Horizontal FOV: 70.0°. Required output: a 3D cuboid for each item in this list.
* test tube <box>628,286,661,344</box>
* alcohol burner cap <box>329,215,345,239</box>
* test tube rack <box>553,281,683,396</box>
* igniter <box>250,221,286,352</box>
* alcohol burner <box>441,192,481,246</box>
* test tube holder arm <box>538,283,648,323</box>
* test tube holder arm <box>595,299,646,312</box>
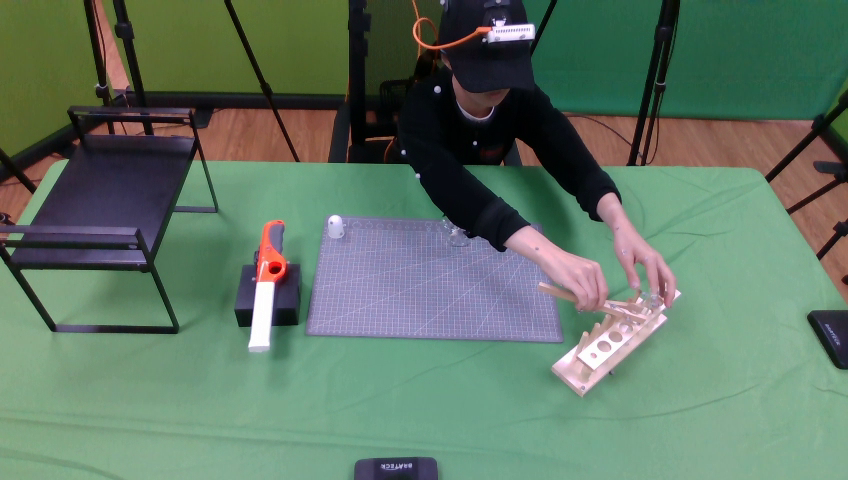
[{"bbox_3d":[0.353,0.124,0.983,0.017,0.151,0.017,1,49,-1],"label":"test tube"},{"bbox_3d":[-0.172,-0.028,1.192,0.034,0.048,0.033,1,48,-1],"label":"alcohol burner cap"},{"bbox_3d":[0.329,0.153,1.022,0.242,0.085,0.066,-30,55,-28],"label":"test tube rack"},{"bbox_3d":[-0.269,0.068,1.041,0.057,0.025,0.274,0,48,-7],"label":"igniter"},{"bbox_3d":[0.074,-0.046,1.175,0.078,0.119,0.077,2,44,-2],"label":"alcohol burner"},{"bbox_3d":[0.270,0.100,0.968,0.178,0.015,0.013,16,41,0],"label":"test tube holder arm"},{"bbox_3d":[0.314,0.106,0.975,0.088,0.015,0.010,5,43,-12],"label":"test tube holder arm"}]
